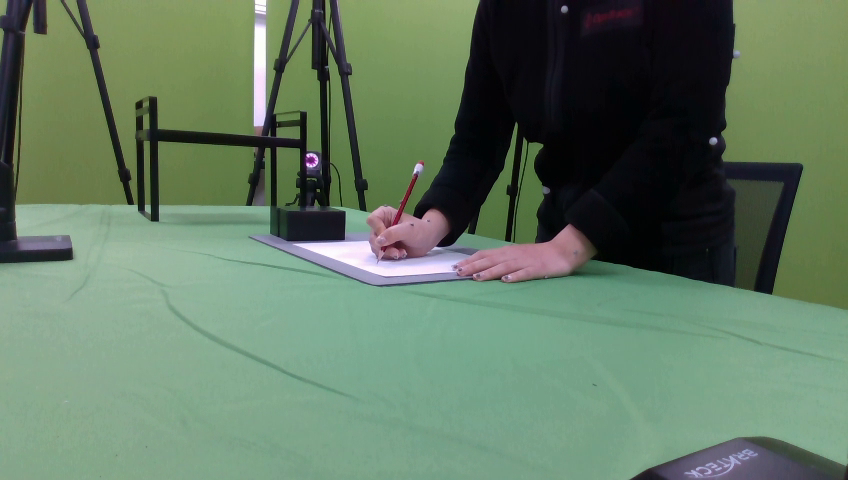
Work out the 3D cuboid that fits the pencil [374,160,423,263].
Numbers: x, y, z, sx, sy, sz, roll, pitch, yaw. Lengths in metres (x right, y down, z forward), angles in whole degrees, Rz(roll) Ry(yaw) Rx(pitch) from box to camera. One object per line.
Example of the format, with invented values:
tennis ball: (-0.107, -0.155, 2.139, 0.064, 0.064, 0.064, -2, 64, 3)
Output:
pencil: (-0.035, -0.044, 0.855, 0.012, 0.194, 0.012, 15, -35, 11)
